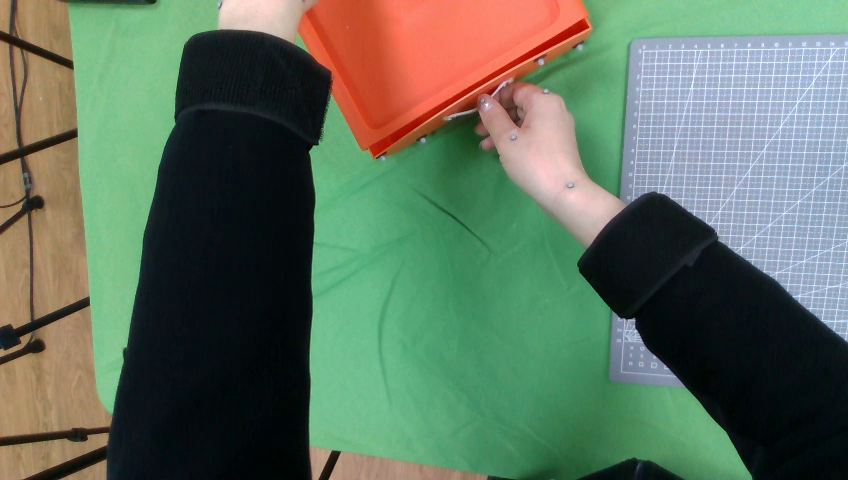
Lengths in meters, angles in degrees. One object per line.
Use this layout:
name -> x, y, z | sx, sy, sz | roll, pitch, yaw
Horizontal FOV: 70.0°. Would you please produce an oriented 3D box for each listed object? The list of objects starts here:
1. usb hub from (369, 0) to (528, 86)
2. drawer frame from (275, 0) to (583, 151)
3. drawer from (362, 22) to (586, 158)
usb hub -> 0.019, -0.182, 0.501 | 0.125, 0.025, 0.049 | -28, 95, 17
drawer frame -> -0.013, -0.210, 0.483 | 0.201, 0.082, 0.214 | -28, 94, 16
drawer -> -0.007, -0.203, 0.487 | 0.194, 0.073, 0.212 | -28, 94, 16
